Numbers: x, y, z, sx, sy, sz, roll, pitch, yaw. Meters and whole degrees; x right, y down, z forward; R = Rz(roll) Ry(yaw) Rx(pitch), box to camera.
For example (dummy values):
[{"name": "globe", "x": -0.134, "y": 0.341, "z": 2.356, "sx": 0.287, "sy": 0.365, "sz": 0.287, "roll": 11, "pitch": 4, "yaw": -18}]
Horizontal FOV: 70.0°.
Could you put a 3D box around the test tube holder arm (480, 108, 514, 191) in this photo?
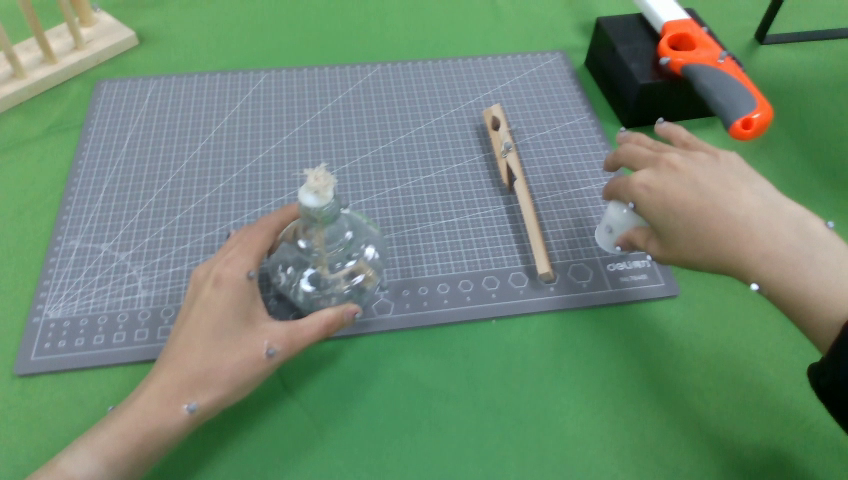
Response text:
[{"name": "test tube holder arm", "x": 0.064, "y": -0.078, "z": 0.513, "sx": 0.010, "sy": 0.015, "sz": 0.087, "roll": -29, "pitch": 51, "yaw": 21}]

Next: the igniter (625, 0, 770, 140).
[{"name": "igniter", "x": 0.223, "y": -0.182, "z": 0.538, "sx": 0.057, "sy": 0.025, "sz": 0.273, "roll": -10, "pitch": 51, "yaw": -6}]

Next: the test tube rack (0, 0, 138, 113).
[{"name": "test tube rack", "x": -0.385, "y": -0.165, "z": 0.520, "sx": 0.066, "sy": 0.086, "sz": 0.242, "roll": 35, "pitch": 58, "yaw": 22}]

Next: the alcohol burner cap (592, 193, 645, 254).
[{"name": "alcohol burner cap", "x": 0.145, "y": -0.015, "z": 0.449, "sx": 0.034, "sy": 0.048, "sz": 0.033, "roll": 0, "pitch": 53, "yaw": 0}]

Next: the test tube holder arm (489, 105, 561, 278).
[{"name": "test tube holder arm", "x": 0.077, "y": -0.045, "z": 0.485, "sx": 0.013, "sy": 0.015, "sz": 0.176, "roll": -30, "pitch": 51, "yaw": 20}]

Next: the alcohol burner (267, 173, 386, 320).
[{"name": "alcohol burner", "x": -0.063, "y": -0.001, "z": 0.385, "sx": 0.078, "sy": 0.120, "sz": 0.077, "roll": 1, "pitch": 54, "yaw": -1}]
